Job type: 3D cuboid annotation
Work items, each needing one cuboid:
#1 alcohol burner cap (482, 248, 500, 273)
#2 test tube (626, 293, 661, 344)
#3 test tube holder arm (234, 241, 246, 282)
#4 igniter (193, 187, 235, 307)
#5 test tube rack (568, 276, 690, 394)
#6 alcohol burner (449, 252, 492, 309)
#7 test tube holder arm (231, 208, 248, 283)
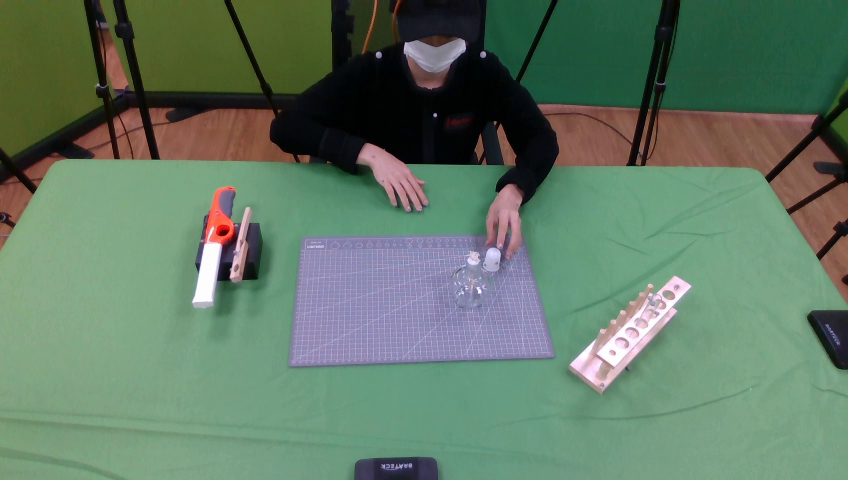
[{"bbox_3d":[0.130,0.037,1.156,0.034,0.048,0.033,2,46,-2],"label":"alcohol burner cap"},{"bbox_3d":[0.355,0.133,0.984,0.017,0.151,0.017,1,52,0],"label":"test tube"},{"bbox_3d":[-0.325,0.037,1.072,0.010,0.015,0.087,-5,47,-3],"label":"test tube holder arm"},{"bbox_3d":[-0.379,0.003,1.096,0.057,0.025,0.274,-1,49,-7],"label":"igniter"},{"bbox_3d":[0.353,0.149,1.039,0.242,0.085,0.066,-34,56,-31],"label":"test tube rack"},{"bbox_3d":[0.084,0.066,1.073,0.078,0.120,0.077,1,44,-1],"label":"alcohol burner"},{"bbox_3d":[-0.335,0.005,1.102,0.013,0.015,0.177,-6,47,-4],"label":"test tube holder arm"}]
